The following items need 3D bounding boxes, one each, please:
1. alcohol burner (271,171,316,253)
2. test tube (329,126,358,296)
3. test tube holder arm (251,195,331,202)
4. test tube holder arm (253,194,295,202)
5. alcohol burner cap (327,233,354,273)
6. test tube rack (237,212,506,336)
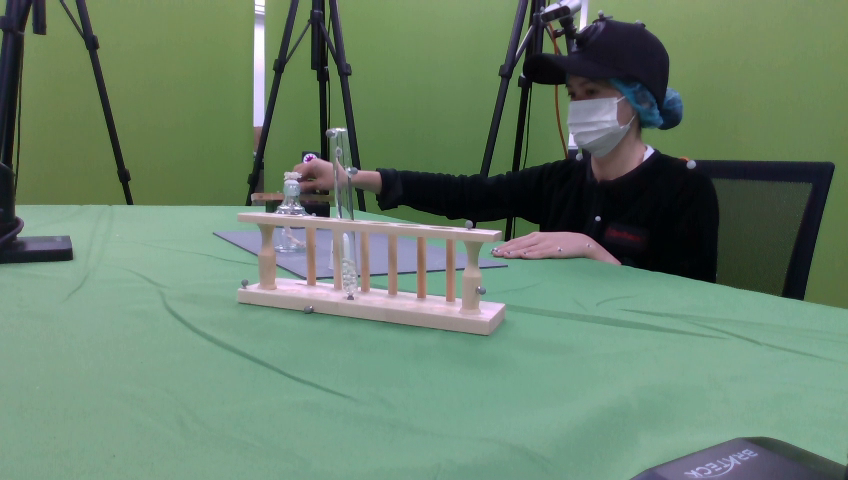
[{"bbox_3d":[-0.196,-0.041,0.884,0.078,0.119,0.078,3,5,0],"label":"alcohol burner"},{"bbox_3d":[-0.071,-0.025,0.535,0.017,0.150,0.017,-3,8,1],"label":"test tube"},{"bbox_3d":[-0.267,-0.085,1.236,0.179,0.015,0.013,-3,4,-42],"label":"test tube holder arm"},{"bbox_3d":[-0.297,-0.083,1.202,0.088,0.015,0.010,-2,4,-41],"label":"test tube holder arm"},{"bbox_3d":[-0.104,0.016,0.751,0.034,0.048,0.034,3,6,0],"label":"alcohol burner cap"},{"bbox_3d":[-0.049,0.024,0.552,0.242,0.085,0.067,5,8,18],"label":"test tube rack"}]
